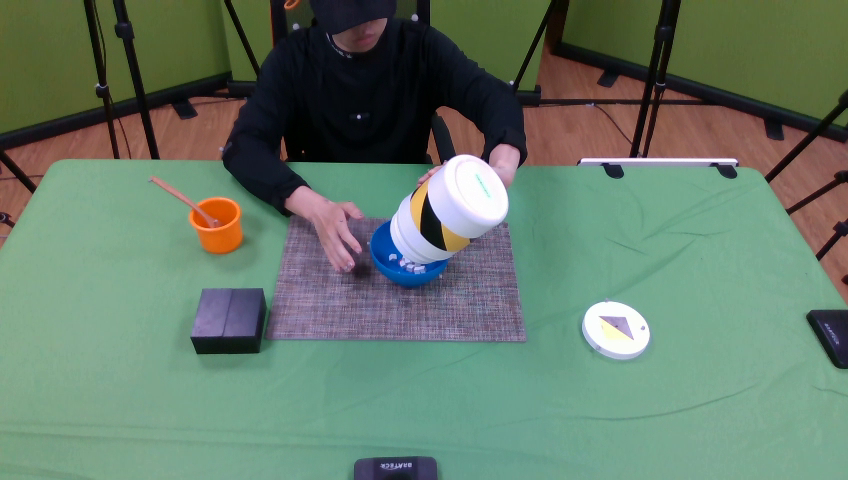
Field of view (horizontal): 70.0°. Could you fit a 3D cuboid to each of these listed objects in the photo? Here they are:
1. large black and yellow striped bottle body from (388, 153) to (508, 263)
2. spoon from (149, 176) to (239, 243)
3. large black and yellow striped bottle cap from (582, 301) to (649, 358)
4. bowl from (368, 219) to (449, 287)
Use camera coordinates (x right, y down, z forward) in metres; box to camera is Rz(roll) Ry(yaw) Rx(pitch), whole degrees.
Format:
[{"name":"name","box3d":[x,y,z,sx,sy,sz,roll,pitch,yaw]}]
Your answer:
[{"name":"large black and yellow striped bottle body","box3d":[0.035,-0.046,1.016,0.131,0.184,0.130,22,51,-30]},{"name":"spoon","box3d":[-0.427,-0.057,1.132,0.021,0.195,0.041,-28,31,33]},{"name":"large black and yellow striped bottle cap","box3d":[0.340,0.157,1.077,0.115,0.019,0.114,1,47,-1]},{"name":"bowl","box3d":[-0.028,0.033,1.120,0.151,0.077,0.150,2,46,-2]}]
